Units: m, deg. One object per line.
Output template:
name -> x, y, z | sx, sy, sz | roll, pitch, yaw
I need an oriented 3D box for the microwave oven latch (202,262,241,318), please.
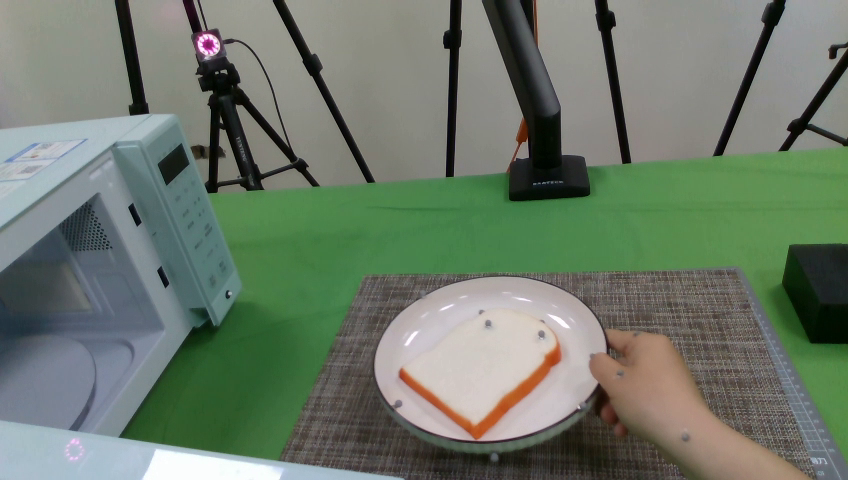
microwave oven latch -> -0.253, 0.061, 0.750 | 0.030, 0.030, 0.078 | -2, 33, 11

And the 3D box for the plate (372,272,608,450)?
plate -> 0.058, 0.105, 0.545 | 0.209, 0.038, 0.207 | -9, 32, 6

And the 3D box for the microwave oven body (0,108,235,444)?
microwave oven body -> -0.436, 0.084, 0.578 | 0.325, 0.262, 0.438 | -3, 33, 10

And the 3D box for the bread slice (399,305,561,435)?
bread slice -> 0.056, 0.106, 0.548 | 0.131, 0.019, 0.104 | -33, 39, -28

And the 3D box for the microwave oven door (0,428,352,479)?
microwave oven door -> -0.160, 0.190, 0.326 | 0.354, 0.246, 0.039 | 1, 34, 17
